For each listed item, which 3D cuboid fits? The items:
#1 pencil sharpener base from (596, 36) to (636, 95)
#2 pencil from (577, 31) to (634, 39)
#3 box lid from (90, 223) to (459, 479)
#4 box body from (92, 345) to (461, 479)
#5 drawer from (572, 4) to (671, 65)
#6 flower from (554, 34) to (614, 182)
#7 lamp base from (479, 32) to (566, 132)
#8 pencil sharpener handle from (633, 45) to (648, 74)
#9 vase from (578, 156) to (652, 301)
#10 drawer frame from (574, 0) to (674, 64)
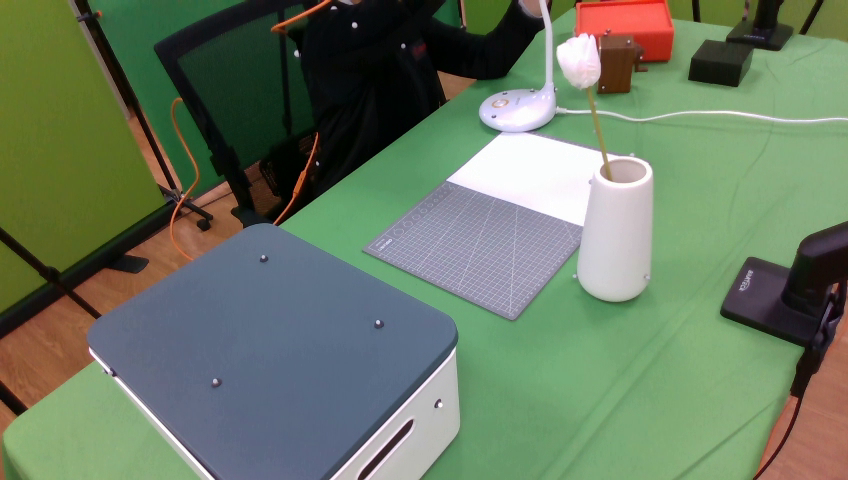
[{"bbox_3d":[0.406,-0.369,1.280,0.076,0.107,0.061,1,41,13],"label":"pencil sharpener base"},{"bbox_3d":[0.430,-0.488,1.443,0.012,0.012,0.192,-25,30,-18],"label":"pencil"},{"bbox_3d":[-0.174,0.102,0.666,0.368,0.015,0.264,24,48,35],"label":"box lid"},{"bbox_3d":[-0.162,0.170,0.708,0.361,0.161,0.255,25,50,34],"label":"box body"},{"bbox_3d":[0.461,-0.490,1.434,0.211,0.073,0.194,2,40,12],"label":"drawer"},{"bbox_3d":[0.237,-0.083,0.774,0.044,0.363,0.038,-22,26,6],"label":"flower"},{"bbox_3d":[0.200,-0.332,1.218,0.179,0.181,0.160,1,41,7],"label":"lamp base"},{"bbox_3d":[0.454,-0.378,1.262,0.030,0.068,0.036,1,47,13],"label":"pencil sharpener handle"},{"bbox_3d":[0.261,-0.011,0.812,0.098,0.201,0.097,-4,40,4],"label":"vase"},{"bbox_3d":[0.464,-0.492,1.434,0.213,0.083,0.201,1,40,12],"label":"drawer frame"}]
